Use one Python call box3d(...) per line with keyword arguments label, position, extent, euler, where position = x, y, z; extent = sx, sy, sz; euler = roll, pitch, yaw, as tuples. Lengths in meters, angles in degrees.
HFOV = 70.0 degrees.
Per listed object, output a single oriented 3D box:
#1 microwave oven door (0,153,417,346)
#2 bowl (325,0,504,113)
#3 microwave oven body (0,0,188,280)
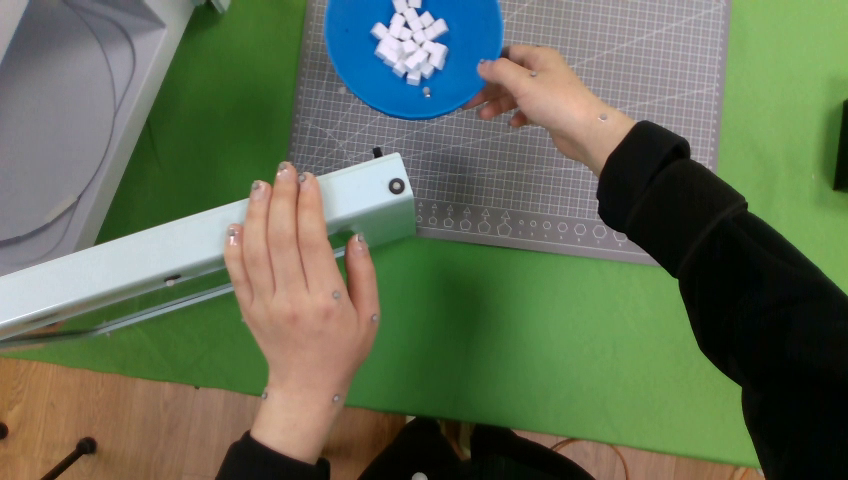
box3d(label="microwave oven door", position=(-0.180, 0.016, 0.490), extent=(0.356, 0.244, 0.039), euler=(-18, 86, -2))
box3d(label="bowl", position=(-0.008, -0.180, 0.541), extent=(0.151, 0.077, 0.151), euler=(0, 88, -2))
box3d(label="microwave oven body", position=(-0.402, -0.183, 0.501), extent=(0.326, 0.260, 0.441), euler=(21, 87, 0))
